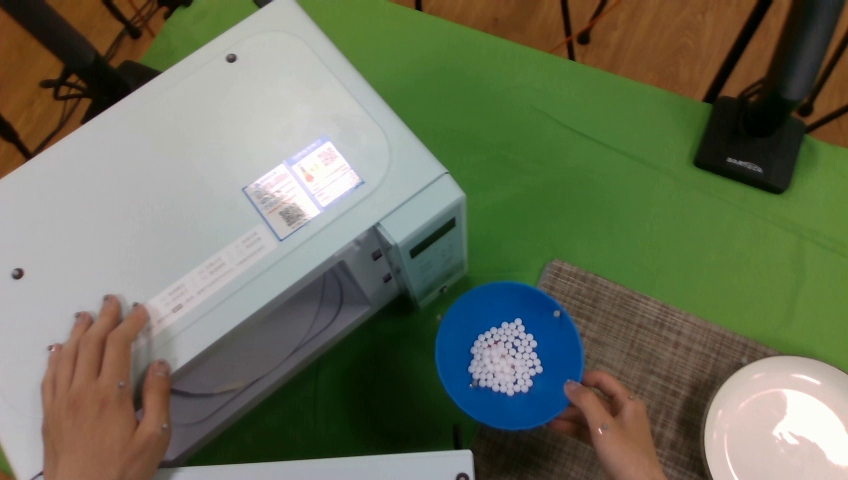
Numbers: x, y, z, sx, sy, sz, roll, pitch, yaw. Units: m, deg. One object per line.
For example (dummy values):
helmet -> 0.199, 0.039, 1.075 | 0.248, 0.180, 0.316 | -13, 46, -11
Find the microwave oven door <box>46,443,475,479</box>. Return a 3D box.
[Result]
microwave oven door -> -0.129, 0.223, 0.579 | 0.356, 0.245, 0.039 | -5, 71, 2

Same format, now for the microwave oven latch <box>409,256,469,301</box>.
microwave oven latch -> 0.018, 0.039, 0.741 | 0.079, 0.030, 0.030 | -36, 72, -7

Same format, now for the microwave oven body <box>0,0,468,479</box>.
microwave oven body -> -0.220, 0.007, 0.668 | 0.441, 0.262, 0.324 | -38, 72, -8

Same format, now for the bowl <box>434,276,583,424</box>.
bowl -> 0.083, 0.121, 0.638 | 0.151, 0.077, 0.150 | 1, 68, -2

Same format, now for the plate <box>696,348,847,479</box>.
plate -> 0.402, 0.224, 0.662 | 0.207, 0.039, 0.206 | -1, 71, 4
